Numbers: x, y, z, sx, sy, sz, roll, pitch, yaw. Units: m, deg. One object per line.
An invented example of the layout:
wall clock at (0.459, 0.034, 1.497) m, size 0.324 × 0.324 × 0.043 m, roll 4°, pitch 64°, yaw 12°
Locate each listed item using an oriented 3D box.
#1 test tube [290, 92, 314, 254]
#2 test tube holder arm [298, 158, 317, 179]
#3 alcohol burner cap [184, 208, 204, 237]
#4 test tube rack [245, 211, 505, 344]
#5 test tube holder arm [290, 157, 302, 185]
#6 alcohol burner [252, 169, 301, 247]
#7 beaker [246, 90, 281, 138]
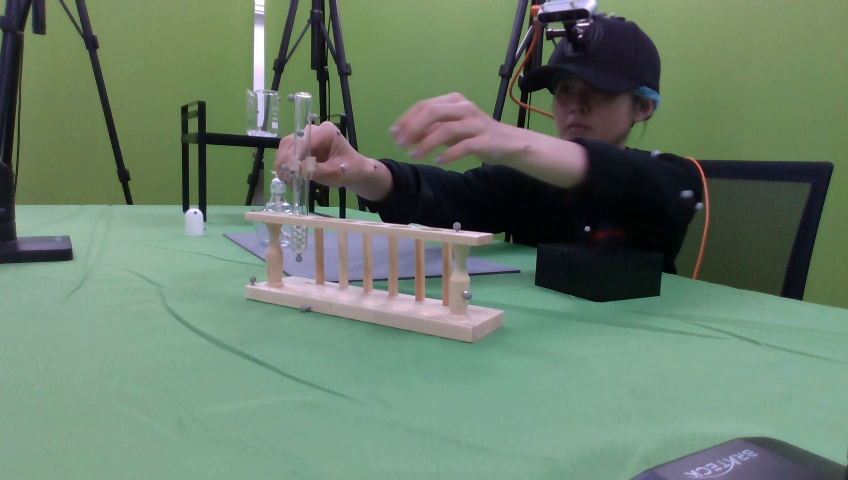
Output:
test tube at (-0.113, -0.061, 0.561) m, size 0.017 × 0.150 × 0.017 m, roll 3°, pitch 3°, yaw 0°
test tube holder arm at (-0.115, -0.068, 0.584) m, size 0.010 × 0.015 × 0.087 m, roll 7°, pitch 0°, yaw -19°
alcohol burner cap at (-0.392, -0.031, 1.032) m, size 0.034 × 0.048 × 0.034 m, roll 3°, pitch 8°, yaw 0°
test tube rack at (-0.049, 0.024, 0.547) m, size 0.241 × 0.085 × 0.067 m, roll 7°, pitch 8°, yaw 29°
test tube holder arm at (-0.132, -0.070, 0.626) m, size 0.013 × 0.015 × 0.178 m, roll 8°, pitch 0°, yaw -12°
alcohol burner at (-0.228, -0.050, 0.936) m, size 0.078 × 0.119 × 0.078 m, roll 1°, pitch 7°, yaw 0°
beaker at (-0.354, -0.275, 1.322) m, size 0.074 × 0.100 × 0.084 m, roll 4°, pitch 8°, yaw 12°
